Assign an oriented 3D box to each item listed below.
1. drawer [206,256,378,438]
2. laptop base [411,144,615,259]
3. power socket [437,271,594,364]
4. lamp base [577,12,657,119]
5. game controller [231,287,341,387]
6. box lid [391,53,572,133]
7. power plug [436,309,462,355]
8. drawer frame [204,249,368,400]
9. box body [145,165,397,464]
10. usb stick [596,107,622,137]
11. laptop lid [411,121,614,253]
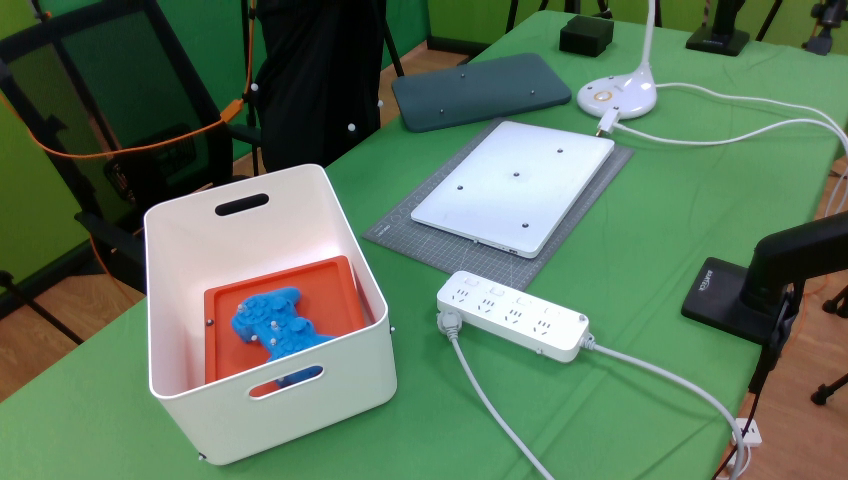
[{"bbox_3d":[-0.177,0.130,0.787,0.195,0.073,0.210,-14,39,-9],"label":"drawer"},{"bbox_3d":[0.167,-0.102,1.075,0.234,0.023,0.355,17,46,30],"label":"laptop base"},{"bbox_3d":[0.118,0.102,0.830,0.225,0.033,0.072,20,48,28],"label":"power socket"},{"bbox_3d":[0.405,-0.360,1.218,0.180,0.181,0.159,-23,43,-23],"label":"lamp base"},{"bbox_3d":[-0.167,0.110,0.734,0.097,0.052,0.154,-34,47,-22],"label":"game controller"},{"bbox_3d":[0.123,-0.339,1.366,0.372,0.015,0.261,-12,40,-5],"label":"box lid"},{"bbox_3d":[0.032,0.126,0.809,0.035,0.053,0.072,3,59,7],"label":"power plug"},{"bbox_3d":[-0.174,0.129,0.790,0.202,0.083,0.212,-16,45,-8],"label":"drawer frame"},{"bbox_3d":[-0.205,0.080,0.802,0.255,0.161,0.361,-18,41,-13],"label":"box body"},{"bbox_3d":[0.355,-0.223,1.168,0.027,0.059,0.022,37,14,34],"label":"usb stick"},{"bbox_3d":[0.164,-0.112,1.068,0.240,0.013,0.357,19,46,30],"label":"laptop lid"}]
